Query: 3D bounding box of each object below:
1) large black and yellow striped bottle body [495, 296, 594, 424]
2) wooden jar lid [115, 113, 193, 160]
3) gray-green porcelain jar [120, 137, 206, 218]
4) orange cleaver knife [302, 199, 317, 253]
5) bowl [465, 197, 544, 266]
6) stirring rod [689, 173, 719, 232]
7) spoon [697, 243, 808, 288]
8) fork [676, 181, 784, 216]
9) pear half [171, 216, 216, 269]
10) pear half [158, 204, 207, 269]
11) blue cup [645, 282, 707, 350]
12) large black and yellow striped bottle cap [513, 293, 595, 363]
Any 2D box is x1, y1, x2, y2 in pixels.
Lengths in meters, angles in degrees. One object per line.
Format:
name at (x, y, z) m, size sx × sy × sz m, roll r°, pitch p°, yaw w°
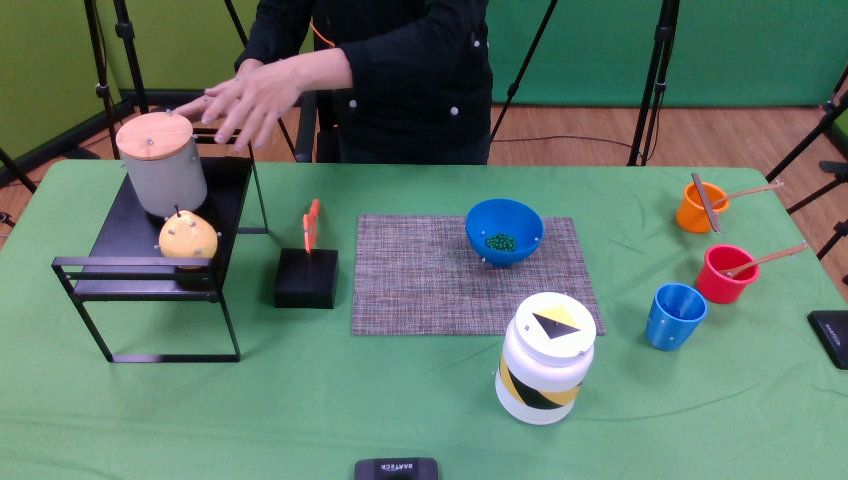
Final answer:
large black and yellow striped bottle body at (0.183, 0.182, 0.923) m, size 0.131 × 0.185 × 0.130 m, roll 2°, pitch 46°, yaw -2°
wooden jar lid at (-0.399, -0.151, 0.900) m, size 0.108 × 0.021 × 0.107 m, roll 3°, pitch 46°, yaw -3°
gray-green porcelain jar at (-0.403, -0.106, 0.946) m, size 0.106 × 0.127 × 0.105 m, roll 3°, pitch 46°, yaw -2°
orange cleaver knife at (-0.219, -0.031, 1.168) m, size 0.012 × 0.077 × 0.210 m, roll -5°, pitch 17°, yaw -3°
bowl at (0.149, -0.004, 1.167) m, size 0.151 × 0.077 × 0.150 m, roll 2°, pitch 46°, yaw -2°
stirring rod at (0.565, -0.080, 1.225) m, size 0.014 × 0.006 × 0.175 m, roll 3°, pitch 46°, yaw 1°
spoon at (0.601, 0.045, 1.115) m, size 0.194 × 0.022 × 0.041 m, roll -29°, pitch 35°, yaw 30°
fork at (0.618, -0.083, 1.235) m, size 0.207 × 0.019 × 0.028 m, roll -23°, pitch 20°, yaw 38°
pear half at (-0.323, 0.007, 0.867) m, size 0.031 × 0.088 × 0.070 m, roll 25°, pitch 46°, yaw 20°
pear half at (-0.352, -0.015, 0.873) m, size 0.056 × 0.110 × 0.076 m, roll 25°, pitch 45°, yaw 19°
blue cup at (0.425, 0.136, 1.042) m, size 0.093 × 0.101 × 0.092 m, roll 1°, pitch 44°, yaw -1°
large black and yellow striped bottle cap at (0.186, 0.123, 0.863) m, size 0.115 × 0.019 × 0.114 m, roll 3°, pitch 45°, yaw -3°
